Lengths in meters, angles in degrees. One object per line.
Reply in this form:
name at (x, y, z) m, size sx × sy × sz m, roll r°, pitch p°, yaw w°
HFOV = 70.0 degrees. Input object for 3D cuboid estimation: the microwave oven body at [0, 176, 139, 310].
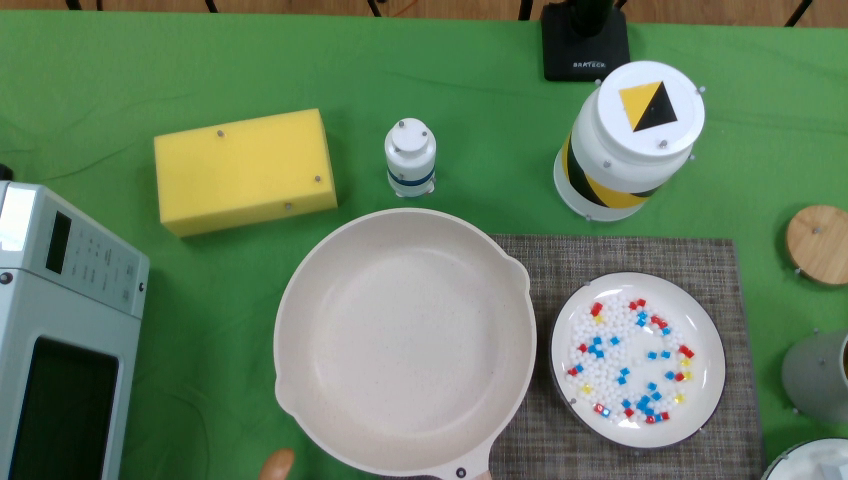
microwave oven body at (-0.502, 0.182, 0.577) m, size 0.326 × 0.261 × 0.439 m, roll 2°, pitch 74°, yaw -1°

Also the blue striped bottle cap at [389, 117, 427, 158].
blue striped bottle cap at (-0.018, -0.120, 0.704) m, size 0.044 × 0.021 × 0.044 m, roll 0°, pitch 70°, yaw 0°

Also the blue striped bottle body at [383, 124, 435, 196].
blue striped bottle body at (-0.019, -0.105, 0.753) m, size 0.063 × 0.121 × 0.062 m, roll 0°, pitch 73°, yaw -1°

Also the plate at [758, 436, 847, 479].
plate at (0.467, 0.328, 0.681) m, size 0.208 × 0.039 × 0.206 m, roll 0°, pitch 73°, yaw -1°

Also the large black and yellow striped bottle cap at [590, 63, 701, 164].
large black and yellow striped bottle cap at (0.237, -0.137, 0.648) m, size 0.115 × 0.019 × 0.114 m, roll 0°, pitch 72°, yaw -1°

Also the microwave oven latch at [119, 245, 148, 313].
microwave oven latch at (-0.351, 0.046, 0.723) m, size 0.030 × 0.029 × 0.078 m, roll 4°, pitch 74°, yaw -1°

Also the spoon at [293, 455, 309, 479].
spoon at (-0.185, 0.296, 0.615) m, size 0.193 × 0.041 × 0.021 m, roll -43°, pitch 92°, yaw -8°

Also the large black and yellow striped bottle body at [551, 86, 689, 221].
large black and yellow striped bottle body at (0.235, -0.112, 0.730) m, size 0.131 × 0.185 × 0.130 m, roll 0°, pitch 72°, yaw -1°

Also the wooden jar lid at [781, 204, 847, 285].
wooden jar lid at (0.516, 0.007, 0.788) m, size 0.108 × 0.021 × 0.108 m, roll 0°, pitch 75°, yaw -1°

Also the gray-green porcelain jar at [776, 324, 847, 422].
gray-green porcelain jar at (0.478, 0.152, 0.687) m, size 0.106 × 0.127 × 0.105 m, roll 0°, pitch 73°, yaw -1°

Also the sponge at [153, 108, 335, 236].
sponge at (-0.226, -0.087, 0.773) m, size 0.207 × 0.061 × 0.117 m, roll -12°, pitch 74°, yaw -6°

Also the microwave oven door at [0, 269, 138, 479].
microwave oven door at (-0.358, 0.225, 0.562) m, size 0.039 × 0.245 × 0.353 m, roll 1°, pitch 73°, yaw -1°

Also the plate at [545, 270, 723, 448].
plate at (0.248, 0.140, 0.727) m, size 0.209 × 0.038 × 0.208 m, roll 0°, pitch 74°, yaw -1°

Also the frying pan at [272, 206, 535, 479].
frying pan at (0.020, 0.194, 0.647) m, size 0.307 × 0.103 × 0.483 m, roll -27°, pitch 67°, yaw 2°
